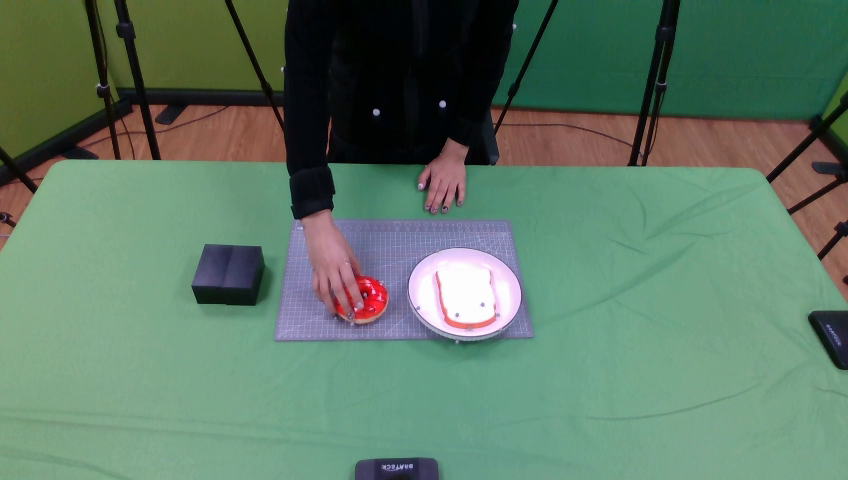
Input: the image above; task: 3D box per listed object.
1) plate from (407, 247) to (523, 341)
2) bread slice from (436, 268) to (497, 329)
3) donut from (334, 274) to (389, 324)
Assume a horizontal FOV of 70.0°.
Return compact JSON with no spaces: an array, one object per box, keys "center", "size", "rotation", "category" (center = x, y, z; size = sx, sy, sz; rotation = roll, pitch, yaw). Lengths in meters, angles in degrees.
[{"center":[0.073,0.099,1.093],"size":[0.209,0.038,0.208],"rotation":[2,46,-2],"category":"plate"},{"center":[0.080,0.103,1.091],"size":[0.105,0.019,0.130],"rotation":[-3,46,-5],"category":"bread slice"},{"center":[-0.111,0.103,1.072],"size":[0.099,0.048,0.098],"rotation":[1,46,-1],"category":"donut"}]
